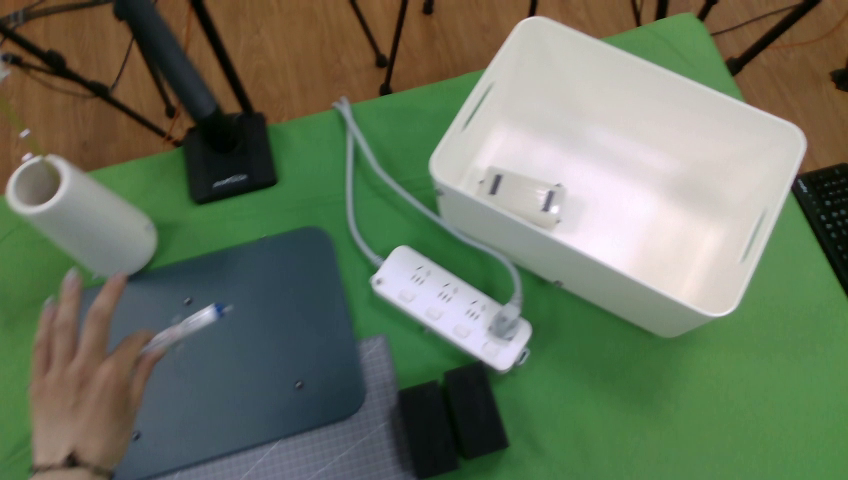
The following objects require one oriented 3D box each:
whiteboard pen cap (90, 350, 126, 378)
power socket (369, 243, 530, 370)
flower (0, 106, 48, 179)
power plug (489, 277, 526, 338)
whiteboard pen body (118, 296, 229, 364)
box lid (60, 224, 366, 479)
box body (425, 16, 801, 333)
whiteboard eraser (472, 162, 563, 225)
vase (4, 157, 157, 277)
[{"bbox_3d":[-0.302,0.118,0.583,0.033,0.018,0.018,-29,70,4],"label":"whiteboard pen cap"},{"bbox_3d":[0.032,0.083,0.772,0.225,0.033,0.072,31,74,14],"label":"power socket"},{"bbox_3d":[-0.417,-0.071,0.673,0.044,0.365,0.038,19,55,16],"label":"flower"},{"bbox_3d":[0.110,0.088,0.742,0.035,0.053,0.072,41,72,17],"label":"power plug"},{"bbox_3d":[-0.250,0.092,0.583,0.141,0.017,0.017,-28,70,3],"label":"whiteboard pen body"},{"bbox_3d":[-0.274,0.138,0.778,0.372,0.015,0.261,-16,69,-3],"label":"box lid"},{"bbox_3d":[0.214,-0.074,0.752,0.362,0.161,0.253,27,73,12],"label":"box body"},{"bbox_3d":[0.125,-0.061,0.807,0.112,0.042,0.055,18,73,7],"label":"whiteboard eraser"},{"bbox_3d":[-0.413,-0.026,0.745,0.098,0.201,0.097,-1,68,2],"label":"vase"}]
